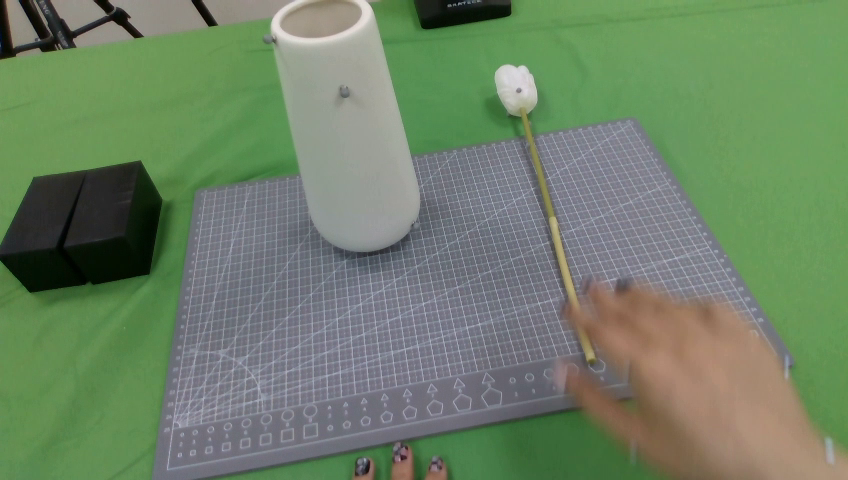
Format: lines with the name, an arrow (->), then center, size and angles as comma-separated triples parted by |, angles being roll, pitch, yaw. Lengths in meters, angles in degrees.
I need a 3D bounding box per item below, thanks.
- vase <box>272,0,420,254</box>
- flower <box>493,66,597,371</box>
vase -> -0.060, -0.081, 0.481 | 0.098, 0.202, 0.097 | -4, 46, 5
flower -> 0.110, -0.043, 0.557 | 0.044, 0.038, 0.358 | 18, 46, -28
